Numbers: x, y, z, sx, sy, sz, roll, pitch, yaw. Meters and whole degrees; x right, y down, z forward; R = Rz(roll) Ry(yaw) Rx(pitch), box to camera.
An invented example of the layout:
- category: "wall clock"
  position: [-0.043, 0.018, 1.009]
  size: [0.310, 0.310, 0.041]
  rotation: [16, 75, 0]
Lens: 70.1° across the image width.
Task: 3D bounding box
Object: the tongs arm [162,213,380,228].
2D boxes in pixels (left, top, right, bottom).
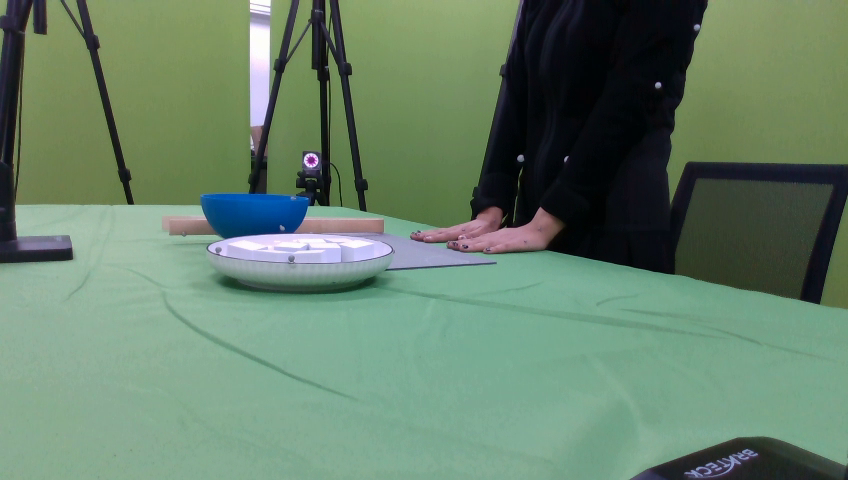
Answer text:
- category: "tongs arm"
  position: [-0.271, -0.033, 1.113]
  size: [0.389, 0.027, 0.028]
  rotation: [0, 1, -18]

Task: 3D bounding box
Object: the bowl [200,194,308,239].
- category: "bowl"
  position: [-0.245, -0.025, 0.879]
  size: [0.151, 0.077, 0.151]
  rotation: [2, 7, 0]

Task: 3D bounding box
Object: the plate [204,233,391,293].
- category: "plate"
  position: [-0.143, 0.025, 0.697]
  size: [0.208, 0.039, 0.207]
  rotation: [3, 9, 0]

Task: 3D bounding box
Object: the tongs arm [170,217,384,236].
- category: "tongs arm"
  position: [-0.233, -0.024, 1.039]
  size: [0.387, 0.026, 0.050]
  rotation: [-2, 5, -32]
